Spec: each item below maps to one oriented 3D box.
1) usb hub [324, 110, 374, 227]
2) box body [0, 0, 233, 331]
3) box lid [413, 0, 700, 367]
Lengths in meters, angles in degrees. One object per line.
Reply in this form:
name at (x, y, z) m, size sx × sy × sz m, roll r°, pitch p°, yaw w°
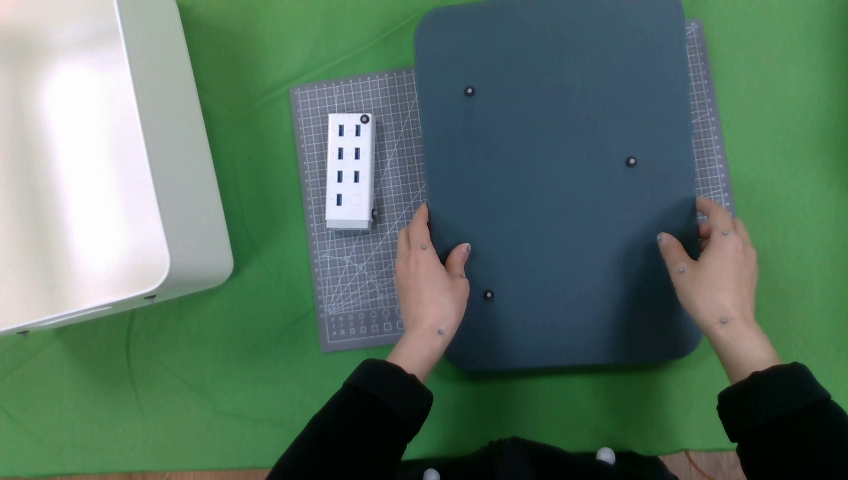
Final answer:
usb hub at (-0.080, -0.078, 0.655) m, size 0.049 × 0.025 × 0.125 m, roll 1°, pitch 88°, yaw 5°
box body at (-0.368, -0.102, 0.620) m, size 0.254 × 0.161 × 0.363 m, roll -14°, pitch 85°, yaw 5°
box lid at (0.131, -0.057, 0.602) m, size 0.263 × 0.015 × 0.371 m, roll -5°, pitch 94°, yaw 5°
